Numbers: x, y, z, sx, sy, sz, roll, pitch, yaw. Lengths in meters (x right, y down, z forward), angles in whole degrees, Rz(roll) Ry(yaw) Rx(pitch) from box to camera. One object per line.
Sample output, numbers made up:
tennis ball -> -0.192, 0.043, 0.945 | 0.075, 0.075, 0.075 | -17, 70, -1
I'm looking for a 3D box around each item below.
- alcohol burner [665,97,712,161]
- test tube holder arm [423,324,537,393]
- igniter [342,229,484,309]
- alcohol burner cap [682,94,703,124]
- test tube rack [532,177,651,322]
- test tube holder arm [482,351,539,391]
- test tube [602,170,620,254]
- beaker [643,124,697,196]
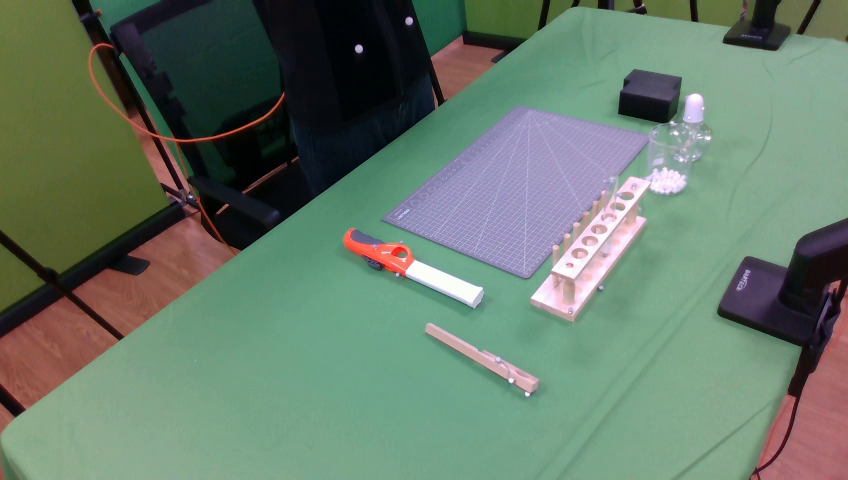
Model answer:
alcohol burner -> 0.465, -0.198, 1.057 | 0.078, 0.119, 0.077 | -4, 41, 4
test tube holder arm -> 0.069, 0.152, 0.789 | 0.177, 0.015, 0.013 | 23, 16, 33
igniter -> -0.027, 0.039, 0.936 | 0.274, 0.025, 0.057 | 23, 59, 32
alcohol burner cap -> 0.460, -0.225, 1.033 | 0.034, 0.048, 0.033 | -8, 34, 6
test tube rack -> 0.247, 0.002, 0.883 | 0.066, 0.085, 0.243 | 22, 49, 32
test tube holder arm -> 0.107, 0.166, 0.769 | 0.087, 0.015, 0.010 | 24, 16, 34
test tube -> 0.261, -0.035, 0.848 | 0.017, 0.151, 0.017 | -6, 44, 6
beaker -> 0.407, -0.132, 1.001 | 0.084, 0.101, 0.073 | -20, 42, -13
